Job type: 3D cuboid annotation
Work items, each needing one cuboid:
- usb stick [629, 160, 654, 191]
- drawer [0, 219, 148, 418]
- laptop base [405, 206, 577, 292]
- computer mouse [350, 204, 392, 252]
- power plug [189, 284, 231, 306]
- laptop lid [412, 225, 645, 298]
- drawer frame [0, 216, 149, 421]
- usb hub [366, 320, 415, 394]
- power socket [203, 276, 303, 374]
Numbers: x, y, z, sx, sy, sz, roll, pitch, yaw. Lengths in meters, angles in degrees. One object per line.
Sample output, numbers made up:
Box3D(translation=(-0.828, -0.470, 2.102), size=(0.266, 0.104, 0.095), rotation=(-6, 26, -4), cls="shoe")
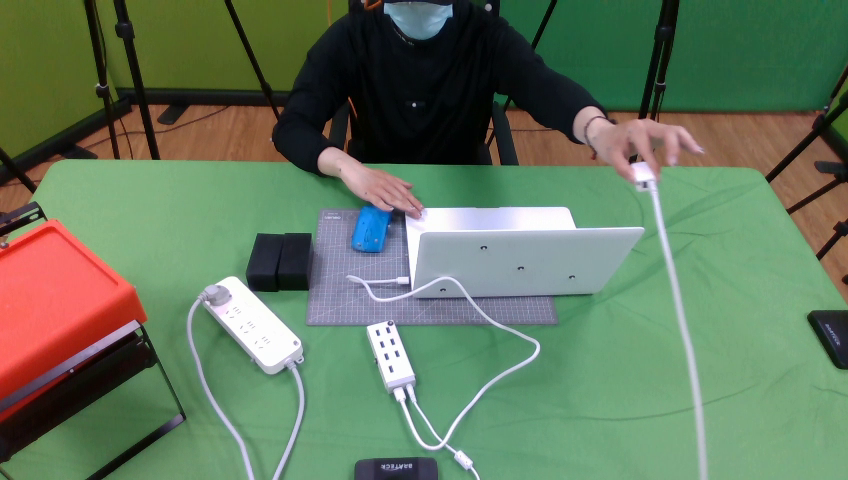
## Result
Box3D(translation=(0.311, -0.096, 0.872), size=(0.027, 0.021, 0.059), rotation=(-15, 36, 14), cls="usb stick")
Box3D(translation=(-0.509, 0.093, 0.783), size=(0.193, 0.073, 0.211), rotation=(32, 53, 24), cls="drawer")
Box3D(translation=(0.143, 0.018, 1.196), size=(0.355, 0.023, 0.234), rotation=(-1, 43, -6), cls="laptop base")
Box3D(translation=(-0.104, -0.027, 1.202), size=(0.063, 0.041, 0.116), rotation=(11, 51, 4), cls="computer mouse")
Box3D(translation=(-0.367, 0.100, 1.037), size=(0.072, 0.053, 0.035), rotation=(-24, 53, -26), cls="power plug")
Box3D(translation=(0.161, 0.042, 1.012), size=(0.357, 0.242, 0.013), rotation=(0, 59, -7), cls="laptop lid")
Box3D(translation=(-0.510, 0.093, 0.780), size=(0.201, 0.083, 0.213), rotation=(31, 52, 23), cls="drawer frame")
Box3D(translation=(-0.056, 0.192, 1.009), size=(0.049, 0.025, 0.124), rotation=(-12, 49, -16), cls="usb hub")
Box3D(translation=(-0.296, 0.141, 1.034), size=(0.072, 0.033, 0.225), rotation=(-35, 58, -30), cls="power socket")
